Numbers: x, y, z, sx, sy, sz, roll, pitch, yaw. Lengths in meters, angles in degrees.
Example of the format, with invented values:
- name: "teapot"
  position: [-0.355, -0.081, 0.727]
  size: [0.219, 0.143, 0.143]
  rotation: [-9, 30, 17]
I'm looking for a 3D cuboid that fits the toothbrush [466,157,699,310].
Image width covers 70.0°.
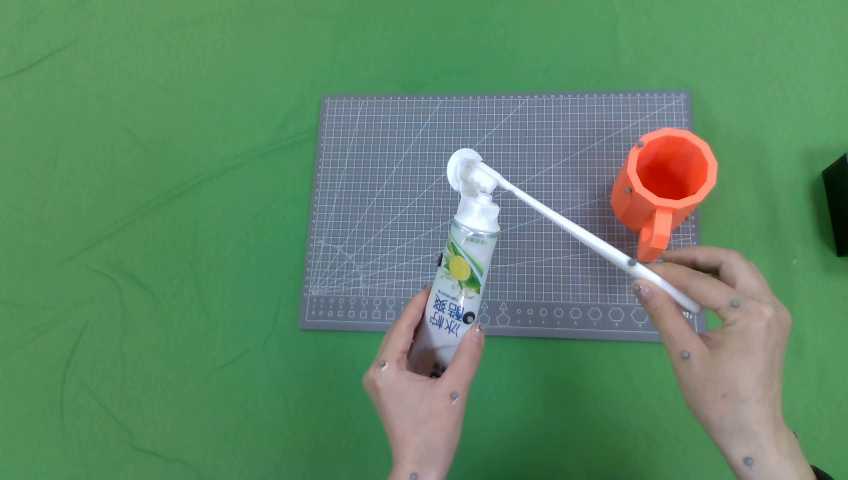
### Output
- name: "toothbrush"
  position: [0.105, -0.004, 0.417]
  size: [0.181, 0.014, 0.016]
  rotation: [34, 70, 13]

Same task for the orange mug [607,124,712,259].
- name: "orange mug"
  position: [0.244, -0.046, 0.641]
  size: [0.083, 0.101, 0.125]
  rotation: [9, 72, 9]

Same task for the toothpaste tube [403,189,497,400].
- name: "toothpaste tube"
  position: [0.021, 0.040, 0.458]
  size: [0.054, 0.034, 0.165]
  rotation: [24, 111, 31]

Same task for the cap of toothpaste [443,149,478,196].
- name: "cap of toothpaste"
  position: [0.031, -0.050, 0.447]
  size: [0.037, 0.011, 0.037]
  rotation: [-3, 95, -32]
